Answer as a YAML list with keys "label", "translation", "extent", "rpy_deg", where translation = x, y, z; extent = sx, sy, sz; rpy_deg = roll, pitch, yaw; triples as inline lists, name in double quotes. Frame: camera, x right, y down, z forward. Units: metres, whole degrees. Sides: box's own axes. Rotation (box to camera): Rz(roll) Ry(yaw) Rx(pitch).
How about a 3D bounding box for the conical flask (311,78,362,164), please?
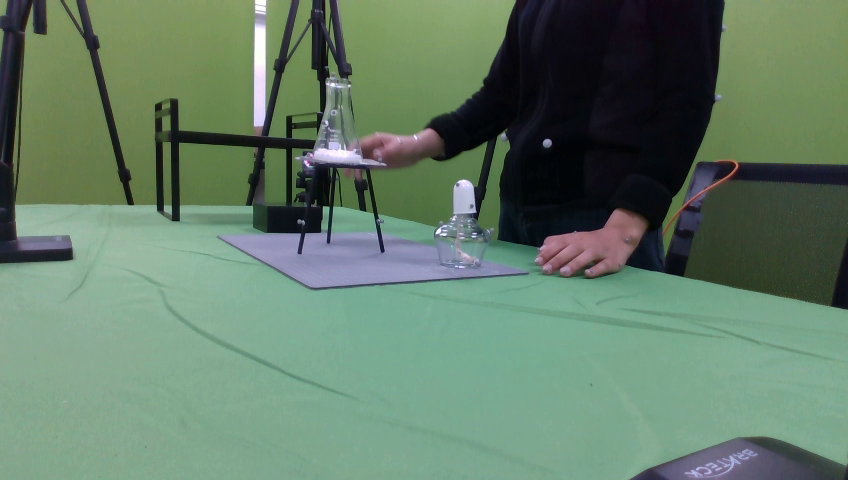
- label: "conical flask"
  translation: [-0.128, -0.174, 0.890]
  extent: [0.075, 0.122, 0.075]
  rpy_deg: [3, 8, 0]

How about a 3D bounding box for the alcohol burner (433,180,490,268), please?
- label: "alcohol burner"
  translation: [0.052, -0.021, 0.816]
  extent: [0.078, 0.119, 0.078]
  rpy_deg: [4, 7, 0]

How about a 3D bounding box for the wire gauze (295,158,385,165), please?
- label: "wire gauze"
  translation: [-0.128, -0.117, 0.901]
  extent: [0.125, 0.011, 0.121]
  rpy_deg: [-2, 8, -14]

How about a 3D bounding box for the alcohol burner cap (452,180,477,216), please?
- label: "alcohol burner cap"
  translation: [0.054, -0.057, 0.811]
  extent: [0.034, 0.048, 0.034]
  rpy_deg: [-3, 6, 1]

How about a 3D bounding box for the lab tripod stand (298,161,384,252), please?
- label: "lab tripod stand"
  translation: [-0.130, -0.051, 0.903]
  extent: [0.148, 0.131, 0.148]
  rpy_deg: [3, 9, 0]
